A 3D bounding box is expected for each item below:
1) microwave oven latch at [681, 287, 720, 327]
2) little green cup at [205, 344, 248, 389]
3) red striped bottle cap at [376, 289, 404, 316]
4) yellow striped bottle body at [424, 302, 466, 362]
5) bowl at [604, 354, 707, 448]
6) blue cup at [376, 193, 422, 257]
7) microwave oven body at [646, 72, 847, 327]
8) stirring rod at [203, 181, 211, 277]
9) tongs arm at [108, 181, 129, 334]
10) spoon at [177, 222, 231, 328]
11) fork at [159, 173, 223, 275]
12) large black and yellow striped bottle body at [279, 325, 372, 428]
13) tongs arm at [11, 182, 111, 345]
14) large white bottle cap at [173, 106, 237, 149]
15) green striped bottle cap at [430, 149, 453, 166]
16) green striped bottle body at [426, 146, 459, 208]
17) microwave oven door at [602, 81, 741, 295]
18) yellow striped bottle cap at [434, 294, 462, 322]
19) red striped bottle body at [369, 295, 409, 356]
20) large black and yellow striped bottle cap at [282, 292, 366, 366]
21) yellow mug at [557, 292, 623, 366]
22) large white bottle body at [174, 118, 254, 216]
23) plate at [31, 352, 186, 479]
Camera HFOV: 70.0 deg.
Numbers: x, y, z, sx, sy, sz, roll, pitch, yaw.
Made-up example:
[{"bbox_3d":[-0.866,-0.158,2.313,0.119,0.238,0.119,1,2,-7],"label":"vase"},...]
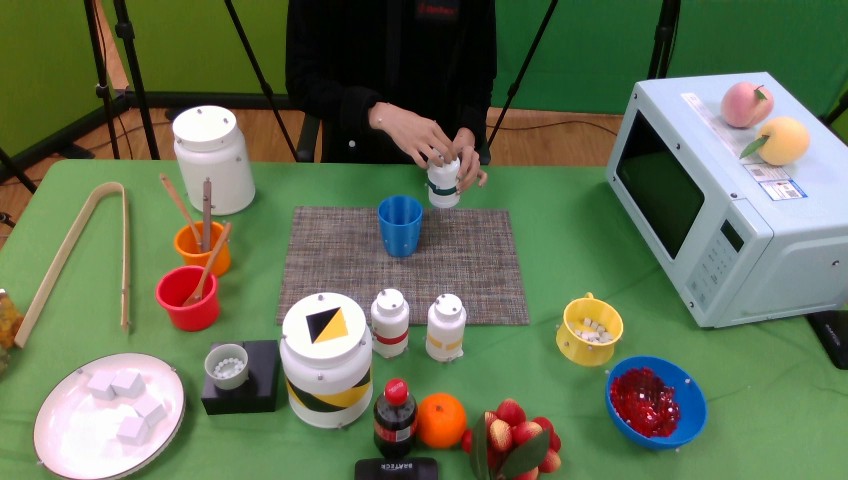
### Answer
[{"bbox_3d":[0.494,0.119,1.087,0.030,0.029,0.078,-5,46,-9],"label":"microwave oven latch"},{"bbox_3d":[-0.293,0.191,0.909,0.061,0.039,0.061,1,47,-1],"label":"little green cup"},{"bbox_3d":[-0.055,0.098,0.958,0.044,0.018,0.044,0,48,0],"label":"red striped bottle cap"},{"bbox_3d":[0.035,0.143,0.995,0.063,0.121,0.062,3,46,-2],"label":"yellow striped bottle body"},{"bbox_3d":[0.346,0.261,0.937,0.151,0.077,0.150,2,46,-2],"label":"bowl"},{"bbox_3d":[-0.047,-0.022,1.155,0.093,0.101,0.092,1,47,-1],"label":"blue cup"},{"bbox_3d":[0.607,-0.090,1.164,0.326,0.261,0.438,-7,46,-10],"label":"microwave oven body"},{"bbox_3d":[-0.396,-0.021,1.108,0.014,0.006,0.176,-1,89,-2],"label":"stirring rod"},{"bbox_3d":[-0.571,0.019,1.123,0.051,0.026,0.382,-11,47,-11],"label":"tongs arm"},{"bbox_3d":[-0.369,0.059,1.027,0.041,0.022,0.193,25,94,19],"label":"spoon"},{"bbox_3d":[-0.427,-0.029,1.104,0.028,0.018,0.207,-31,99,-31],"label":"fork"},{"bbox_3d":[-0.143,0.181,0.900,0.131,0.185,0.130,2,46,-2],"label":"large black and yellow striped bottle body"},{"bbox_3d":[-0.658,0.027,1.109,0.028,0.028,0.385,-2,45,2],"label":"tongs arm"},{"bbox_3d":[-0.411,-0.212,1.138,0.115,0.018,0.114,2,47,-2],"label":"large white bottle cap"},{"bbox_3d":[0.032,-0.153,1.120,0.044,0.020,0.044,-2,26,1],"label":"green striped bottle cap"},{"bbox_3d":[0.035,-0.123,1.160,0.063,0.120,0.063,-1,49,1],"label":"green striped bottle body"},{"bbox_3d":[0.456,-0.107,1.162,0.039,0.245,0.353,-7,47,-11],"label":"microwave oven door"},{"bbox_3d":[0.038,0.107,0.958,0.044,0.019,0.044,2,45,-2],"label":"yellow striped bottle cap"},{"bbox_3d":[-0.059,0.134,0.997,0.063,0.120,0.062,5,48,-5],"label":"red striped bottle body"},{"bbox_3d":[-0.138,0.121,0.841,0.115,0.019,0.114,3,47,-3],"label":"large black and yellow striped bottle cap"},{"bbox_3d":[0.285,0.145,1.051,0.100,0.064,0.130,7,45,4],"label":"yellow mug"},{"bbox_3d":[-0.415,-0.155,1.199,0.131,0.185,0.130,2,46,-2],"label":"large white bottle body"},{"bbox_3d":[-0.459,0.262,0.898,0.209,0.038,0.208,2,46,-2],"label":"plate"}]
